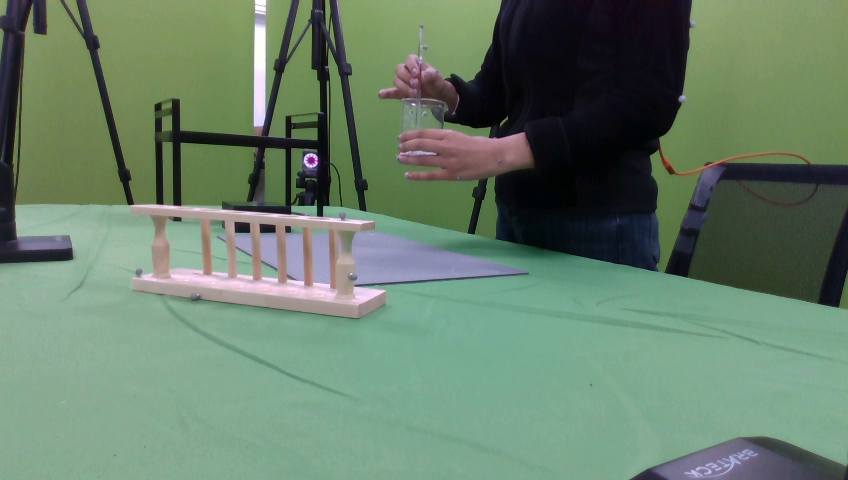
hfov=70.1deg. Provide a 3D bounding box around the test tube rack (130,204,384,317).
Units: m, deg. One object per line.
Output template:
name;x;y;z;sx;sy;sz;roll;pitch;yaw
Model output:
test tube rack;-0.163;0.013;0.589;0.242;0.085;0.067;5;8;17

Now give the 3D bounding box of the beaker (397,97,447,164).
beaker;-0.003;-0.173;0.965;0.084;0.100;0.073;0;7;-25

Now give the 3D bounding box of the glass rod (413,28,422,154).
glass rod;-0.010;-0.237;0.964;0.008;0.199;0.008;2;3;0
